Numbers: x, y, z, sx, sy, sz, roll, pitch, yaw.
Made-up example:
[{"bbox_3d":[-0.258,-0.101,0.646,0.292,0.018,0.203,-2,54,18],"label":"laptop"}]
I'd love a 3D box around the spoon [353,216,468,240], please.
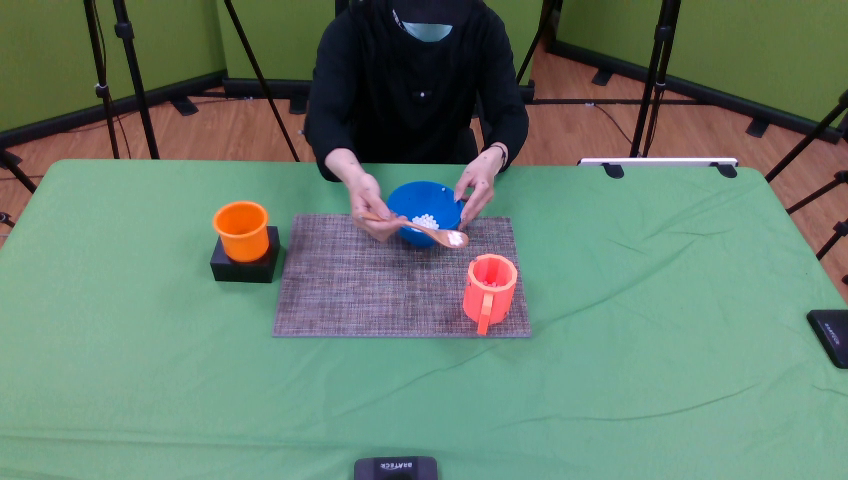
[{"bbox_3d":[-0.021,-0.023,1.010,0.194,0.042,0.021,10,67,-9],"label":"spoon"}]

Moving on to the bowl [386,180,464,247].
[{"bbox_3d":[0.000,-0.040,1.190,0.151,0.077,0.150,2,46,-2],"label":"bowl"}]

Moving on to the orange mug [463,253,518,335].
[{"bbox_3d":[0.113,0.098,1.050,0.083,0.101,0.125,10,42,6],"label":"orange mug"}]
